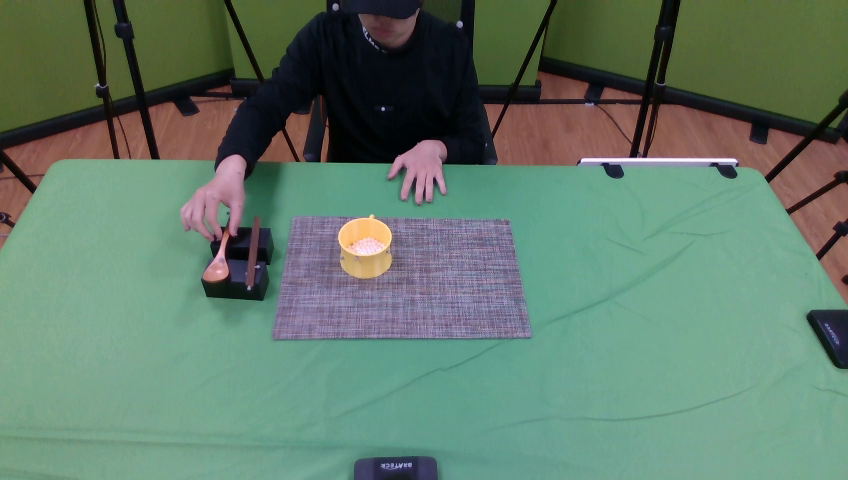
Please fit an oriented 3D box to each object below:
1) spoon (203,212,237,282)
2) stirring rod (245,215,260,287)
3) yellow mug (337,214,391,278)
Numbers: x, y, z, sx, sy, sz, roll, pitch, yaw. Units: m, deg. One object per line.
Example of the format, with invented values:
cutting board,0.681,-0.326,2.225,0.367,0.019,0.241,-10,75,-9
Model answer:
spoon,-0.361,0.009,1.097,0.041,0.022,0.192,-4,45,1
stirring rod,-0.310,0.017,1.096,0.014,0.006,0.175,27,36,-32
yellow mug,-0.110,0.003,1.152,0.100,0.064,0.130,7,45,2
